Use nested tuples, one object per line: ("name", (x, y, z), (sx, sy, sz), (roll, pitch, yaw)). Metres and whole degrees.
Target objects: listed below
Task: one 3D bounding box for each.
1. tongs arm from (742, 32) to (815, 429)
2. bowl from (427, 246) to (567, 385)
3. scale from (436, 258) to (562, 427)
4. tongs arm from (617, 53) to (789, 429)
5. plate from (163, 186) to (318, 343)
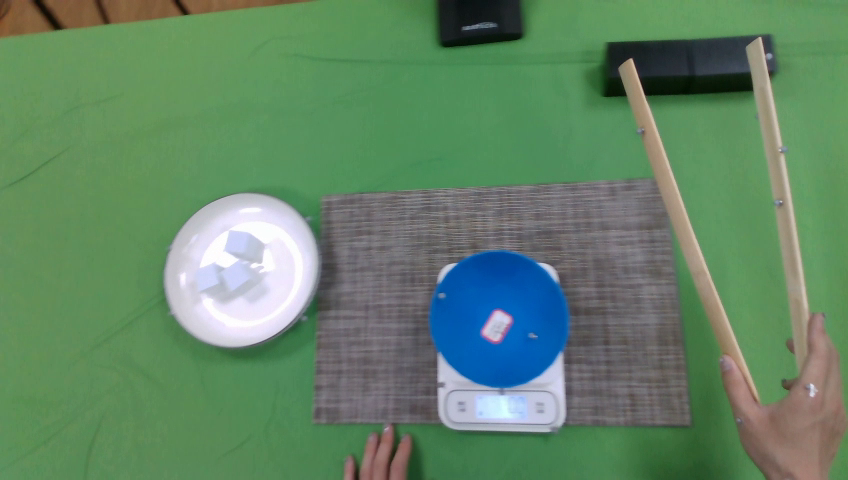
("tongs arm", (0.336, -0.013, 0.595), (0.051, 0.026, 0.384), (-8, 86, -10))
("bowl", (0.082, 0.088, 0.684), (0.151, 0.077, 0.150), (-1, 76, 6))
("scale", (0.088, 0.121, 0.731), (0.148, 0.032, 0.200), (-1, 76, 8))
("tongs arm", (0.262, 0.002, 0.585), (0.028, 0.028, 0.387), (-20, 88, -14))
("plate", (-0.237, 0.033, 0.798), (0.207, 0.039, 0.206), (-2, 76, 7))
